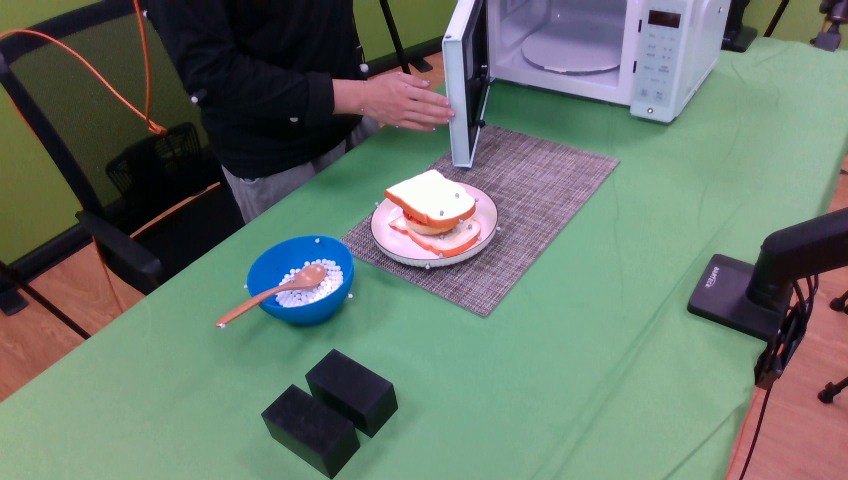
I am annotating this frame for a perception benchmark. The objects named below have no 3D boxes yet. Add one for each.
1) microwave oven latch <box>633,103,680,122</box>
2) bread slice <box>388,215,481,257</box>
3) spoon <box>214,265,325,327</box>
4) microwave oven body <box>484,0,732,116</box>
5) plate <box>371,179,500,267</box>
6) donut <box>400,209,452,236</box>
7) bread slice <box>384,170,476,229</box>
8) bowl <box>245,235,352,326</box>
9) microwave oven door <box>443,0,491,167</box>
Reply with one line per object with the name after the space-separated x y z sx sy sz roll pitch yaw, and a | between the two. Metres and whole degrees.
0.443 -0.249 1.157 0.078 0.029 0.030 21 48 30 | microwave oven latch
0.026 -0.023 0.973 0.107 0.018 0.133 -36 49 -28 | bread slice
-0.207 0.073 0.821 0.041 0.021 0.195 22 27 26 | spoon
0.377 -0.462 1.267 0.438 0.261 0.327 21 48 30 | microwave oven body
0.020 -0.025 0.977 0.207 0.039 0.206 -4 40 4 | plate
0.012 -0.047 0.956 0.099 0.048 0.098 -8 43 8 | donut
0.017 -0.064 0.935 0.105 0.019 0.130 -27 46 -30 | bread slice
-0.171 0.070 0.868 0.151 0.077 0.150 -4 41 4 | bowl
0.089 -0.339 1.158 0.039 0.245 0.355 2 41 12 | microwave oven door
